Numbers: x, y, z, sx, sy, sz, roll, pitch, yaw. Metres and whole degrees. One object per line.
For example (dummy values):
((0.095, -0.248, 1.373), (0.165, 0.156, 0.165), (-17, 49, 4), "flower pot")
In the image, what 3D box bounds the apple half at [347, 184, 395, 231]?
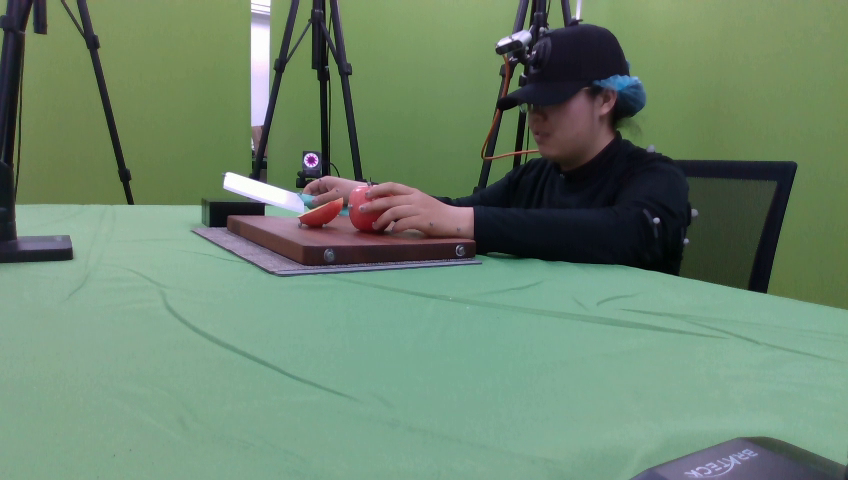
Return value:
((-0.075, -0.049, 0.948), (0.053, 0.074, 0.081), (13, 8, 33), "apple half")

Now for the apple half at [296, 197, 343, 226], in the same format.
((-0.163, -0.041, 0.979), (0.081, 0.033, 0.081), (-21, 7, 3), "apple half")

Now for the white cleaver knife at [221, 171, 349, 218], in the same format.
((-0.269, -0.079, 1.229), (0.288, 0.021, 0.065), (15, 41, -30), "white cleaver knife")
